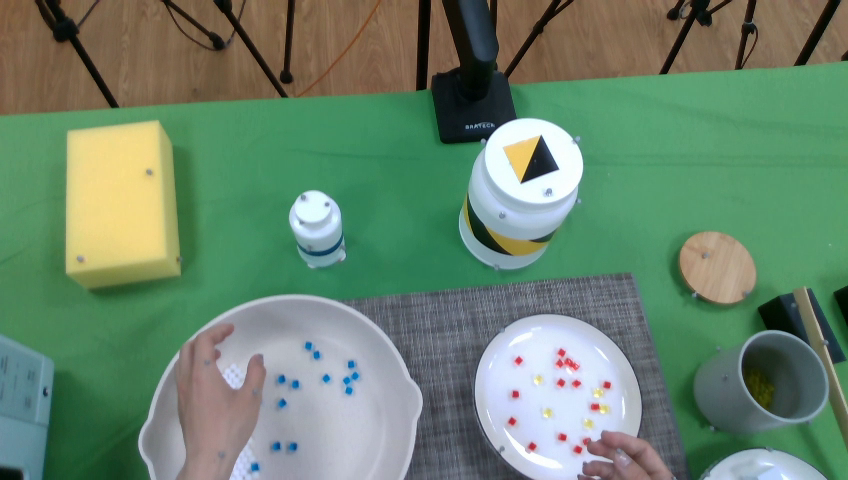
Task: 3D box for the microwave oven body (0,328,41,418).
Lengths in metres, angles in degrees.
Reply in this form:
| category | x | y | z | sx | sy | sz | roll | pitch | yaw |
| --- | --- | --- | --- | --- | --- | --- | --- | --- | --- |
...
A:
| category | x | y | z | sx | sy | sz | roll | pitch | yaw |
| --- | --- | --- | --- | --- | --- | --- | --- | --- | --- |
| microwave oven body | -0.562 | 0.297 | 0.514 | 0.326 | 0.261 | 0.438 | -5 | 68 | -7 |

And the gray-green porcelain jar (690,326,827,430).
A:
| category | x | y | z | sx | sy | sz | roll | pitch | yaw |
| --- | --- | --- | --- | --- | --- | --- | --- | --- | --- |
| gray-green porcelain jar | 0.393 | 0.171 | 0.730 | 0.106 | 0.127 | 0.105 | 2 | 67 | -4 |

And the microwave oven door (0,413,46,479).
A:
| category | x | y | z | sx | sy | sz | roll | pitch | yaw |
| --- | --- | --- | --- | --- | --- | --- | --- | --- | --- |
| microwave oven door | -0.413 | 0.323 | 0.511 | 0.039 | 0.245 | 0.353 | -5 | 67 | -7 |

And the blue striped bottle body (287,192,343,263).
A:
| category | x | y | z | sx | sy | sz | roll | pitch | yaw |
| --- | --- | --- | --- | --- | --- | --- | --- | --- | --- |
| blue striped bottle body | -0.137 | -0.021 | 0.766 | 0.063 | 0.121 | 0.062 | 2 | 67 | -4 |

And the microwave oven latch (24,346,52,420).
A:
| category | x | y | z | sx | sy | sz | roll | pitch | yaw |
| --- | --- | --- | --- | --- | --- | --- | --- | --- | --- |
| microwave oven latch | -0.443 | 0.162 | 0.686 | 0.030 | 0.029 | 0.078 | -3 | 68 | -7 |

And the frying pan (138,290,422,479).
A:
| category | x | y | z | sx | sy | sz | roll | pitch | yaw |
| --- | --- | --- | --- | --- | --- | --- | --- | --- | --- |
| frying pan | -0.141 | 0.293 | 0.640 | 0.307 | 0.103 | 0.483 | -7 | 60 | -5 |

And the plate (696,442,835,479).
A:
| category | x | y | z | sx | sy | sz | roll | pitch | yaw |
| --- | --- | --- | --- | --- | --- | --- | --- | --- | --- |
| plate | 0.404 | 0.344 | 0.707 | 0.208 | 0.039 | 0.206 | 2 | 67 | -4 |

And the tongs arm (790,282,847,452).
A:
| category | x | y | z | sx | sy | sz | roll | pitch | yaw |
| --- | --- | --- | --- | --- | --- | --- | --- | --- | --- |
| tongs arm | 0.532 | 0.234 | 0.734 | 0.051 | 0.026 | 0.383 | -10 | 78 | -11 |

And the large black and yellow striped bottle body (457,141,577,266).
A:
| category | x | y | z | sx | sy | sz | roll | pitch | yaw |
| --- | --- | --- | --- | --- | --- | --- | --- | --- | --- |
| large black and yellow striped bottle body | 0.116 | -0.058 | 0.771 | 0.131 | 0.185 | 0.130 | 2 | 66 | -4 |

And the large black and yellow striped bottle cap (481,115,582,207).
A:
| category | x | y | z | sx | sy | sz | roll | pitch | yaw |
| --- | --- | --- | --- | --- | --- | --- | --- | --- | --- |
| large black and yellow striped bottle cap | 0.123 | -0.092 | 0.692 | 0.115 | 0.019 | 0.114 | 2 | 66 | -3 |

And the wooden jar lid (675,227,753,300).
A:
| category | x | y | z | sx | sy | sz | roll | pitch | yaw |
| --- | --- | --- | --- | --- | --- | --- | --- | --- | --- |
| wooden jar lid | 0.403 | 0.034 | 0.847 | 0.108 | 0.021 | 0.107 | 2 | 68 | -4 |

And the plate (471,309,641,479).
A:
| category | x | y | z | sx | sy | sz | roll | pitch | yaw |
| --- | --- | --- | --- | --- | --- | --- | --- | --- | --- |
| plate | 0.159 | 0.188 | 0.746 | 0.209 | 0.038 | 0.207 | 2 | 67 | -4 |

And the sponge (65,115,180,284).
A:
| category | x | y | z | sx | sy | sz | roll | pitch | yaw |
| --- | --- | --- | --- | --- | --- | --- | --- | --- | --- |
| sponge | -0.393 | -0.055 | 0.789 | 0.118 | 0.061 | 0.205 | -10 | 69 | -9 |

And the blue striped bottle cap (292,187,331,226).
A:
| category | x | y | z | sx | sy | sz | roll | pitch | yaw |
| --- | --- | --- | --- | --- | --- | --- | --- | --- | --- |
| blue striped bottle cap | -0.133 | -0.040 | 0.719 | 0.044 | 0.021 | 0.044 | 1 | 64 | -2 |
